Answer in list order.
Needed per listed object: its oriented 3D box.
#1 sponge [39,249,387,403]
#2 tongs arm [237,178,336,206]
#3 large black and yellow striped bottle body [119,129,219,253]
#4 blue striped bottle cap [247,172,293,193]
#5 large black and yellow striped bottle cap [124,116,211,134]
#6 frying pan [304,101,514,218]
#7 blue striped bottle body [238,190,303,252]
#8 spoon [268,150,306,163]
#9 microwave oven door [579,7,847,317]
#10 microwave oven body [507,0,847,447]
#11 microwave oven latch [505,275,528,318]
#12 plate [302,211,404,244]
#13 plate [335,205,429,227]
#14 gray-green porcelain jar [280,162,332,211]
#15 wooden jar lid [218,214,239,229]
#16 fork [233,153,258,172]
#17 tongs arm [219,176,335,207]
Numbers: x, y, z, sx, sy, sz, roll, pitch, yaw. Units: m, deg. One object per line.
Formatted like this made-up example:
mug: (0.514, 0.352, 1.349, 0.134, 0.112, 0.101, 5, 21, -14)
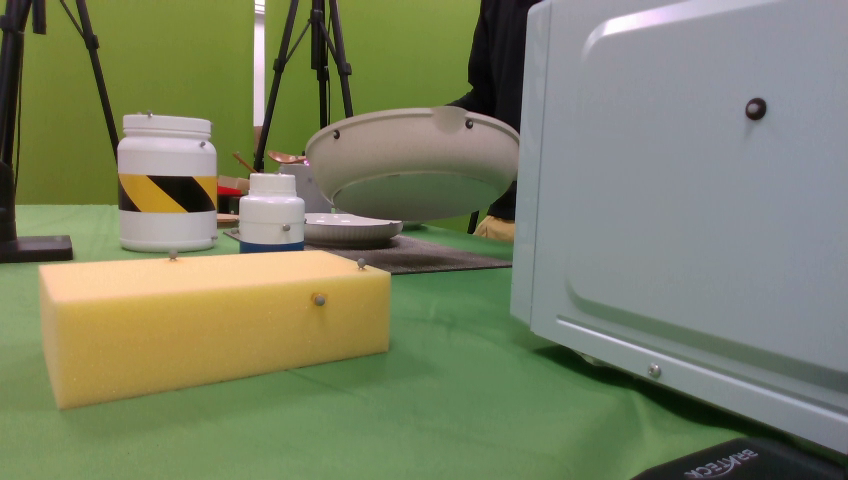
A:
sponge: (-0.142, 0.047, 0.420, 0.208, 0.061, 0.117, -3, 8, -36)
tongs arm: (-0.242, -0.095, 1.374, 0.387, 0.026, 0.050, 9, 0, -37)
large black and yellow striped bottle body: (-0.367, -0.080, 0.876, 0.131, 0.184, 0.130, 2, 7, 0)
blue striped bottle cap: (-0.152, -0.057, 0.598, 0.044, 0.020, 0.044, 3, 6, 0)
large black and yellow striped bottle cap: (-0.366, -0.163, 0.866, 0.115, 0.019, 0.115, 3, 7, 0)
frying pan: (0.086, -0.106, 0.844, 0.490, 0.102, 0.306, -8, -10, -18)
blue striped bottle body: (-0.153, -0.007, 0.606, 0.063, 0.120, 0.063, 2, 7, 0)
spoon: (-0.214, -0.165, 1.219, 0.194, 0.021, 0.041, 0, 29, -13)
microwave oven door: (0.294, -0.067, 0.570, 0.358, 0.243, 0.039, -3, 9, -31)
microwave oven body: (0.331, -0.042, 0.425, 0.444, 0.260, 0.324, -2, 8, -31)
microwave oven latch: (0.100, 0.041, 0.472, 0.079, 0.029, 0.030, -2, 8, -31)
plate: (-0.139, -0.022, 1.021, 0.209, 0.038, 0.209, 2, 8, 0)
plate: (-0.089, -0.053, 1.309, 0.208, 0.039, 0.207, 2, 8, 0)
gray-green porcelain jar: (-0.238, -0.092, 1.221, 0.106, 0.126, 0.106, 2, 8, 0)
wooden jar lid: (-0.404, -0.037, 1.169, 0.108, 0.020, 0.108, 3, 7, 0)
fork: (-0.396, -0.143, 1.486, 0.028, 0.018, 0.208, 21, -25, 45)
tongs arm: (-0.286, -0.104, 1.445, 0.389, 0.027, 0.028, 9, -4, -23)
